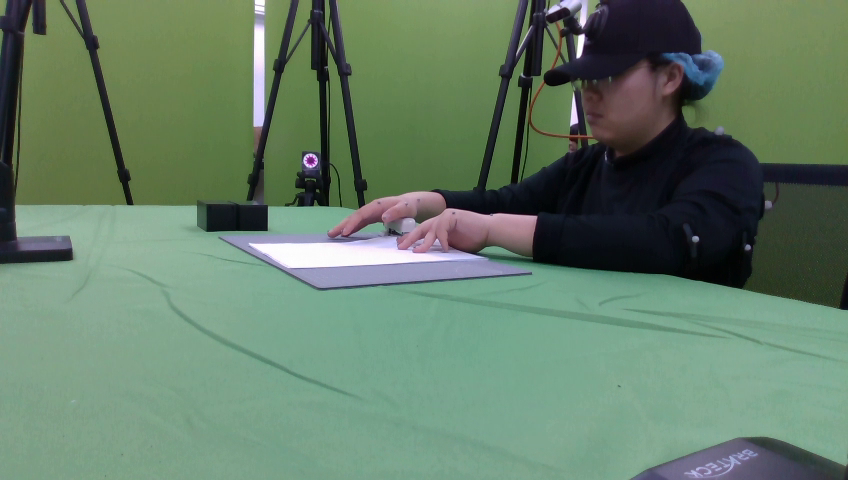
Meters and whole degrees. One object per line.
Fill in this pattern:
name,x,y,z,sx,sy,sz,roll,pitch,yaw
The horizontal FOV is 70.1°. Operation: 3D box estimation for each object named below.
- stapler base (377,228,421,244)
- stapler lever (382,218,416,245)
stapler base,-0.044,-0.011,1.073,0.041,0.024,0.130,2,5,-23
stapler lever,-0.045,-0.024,1.072,0.027,0.040,0.117,2,18,-23
